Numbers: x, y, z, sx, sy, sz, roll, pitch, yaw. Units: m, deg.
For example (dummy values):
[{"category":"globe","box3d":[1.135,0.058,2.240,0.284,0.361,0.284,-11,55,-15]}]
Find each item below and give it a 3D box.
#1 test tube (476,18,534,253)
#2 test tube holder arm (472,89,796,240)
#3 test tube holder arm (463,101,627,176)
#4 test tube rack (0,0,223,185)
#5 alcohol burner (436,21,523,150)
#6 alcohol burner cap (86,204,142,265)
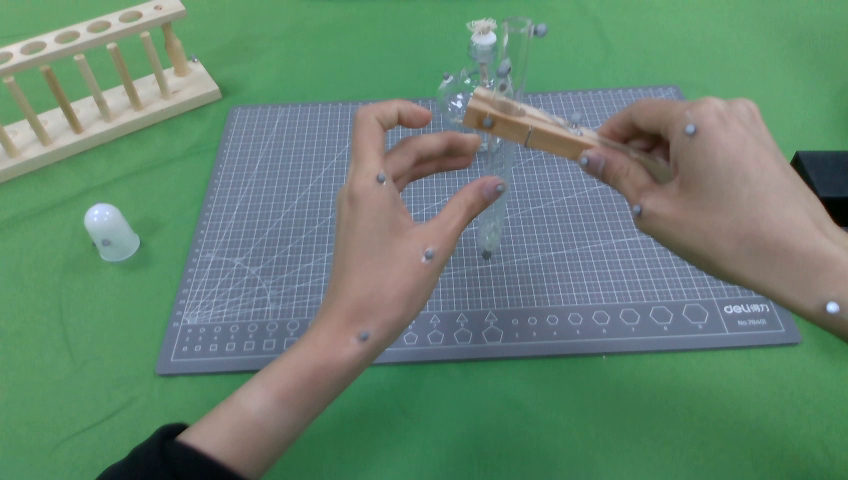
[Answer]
[{"category":"test tube","box3d":[0.043,-0.049,0.340,0.017,0.151,0.017,1,43,-1]},{"category":"test tube holder arm","box3d":[0.107,-0.041,0.321,0.178,0.015,0.013,23,51,6]},{"category":"test tube holder arm","box3d":[0.064,-0.054,0.321,0.088,0.015,0.010,18,50,2]},{"category":"test tube rack","box3d":[-0.326,-0.139,0.569,0.242,0.086,0.066,-27,54,-19]},{"category":"alcohol burner","box3d":[0.050,-0.138,0.530,0.078,0.120,0.077,0,51,1]},{"category":"alcohol burner cap","box3d":[-0.250,-0.007,0.484,0.034,0.048,0.033,-1,49,1]}]
